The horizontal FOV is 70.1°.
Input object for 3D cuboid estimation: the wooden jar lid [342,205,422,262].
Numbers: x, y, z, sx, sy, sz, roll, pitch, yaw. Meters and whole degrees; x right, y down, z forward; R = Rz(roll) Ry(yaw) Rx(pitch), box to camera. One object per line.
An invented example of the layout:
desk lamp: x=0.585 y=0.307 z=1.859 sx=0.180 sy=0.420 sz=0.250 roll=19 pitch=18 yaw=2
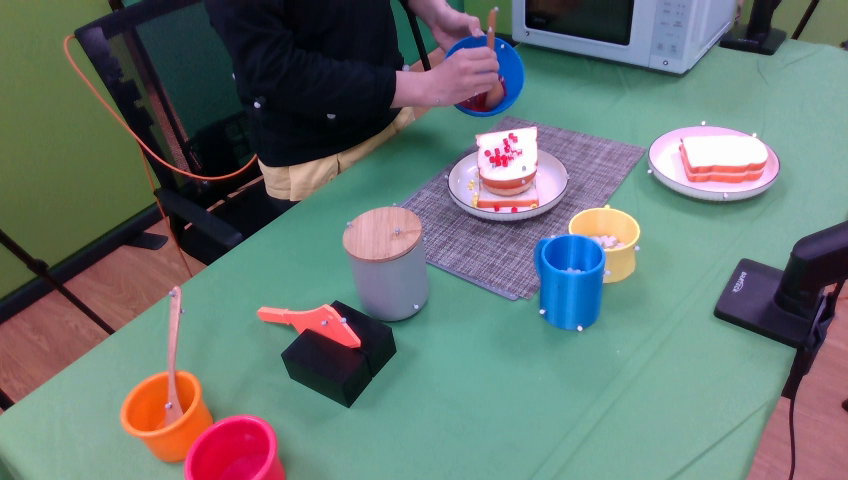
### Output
wooden jar lid: x=-0.055 y=-0.006 z=0.808 sx=0.108 sy=0.021 sz=0.108 roll=-6 pitch=40 yaw=6

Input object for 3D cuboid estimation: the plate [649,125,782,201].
plate: x=0.493 y=-0.128 z=1.036 sx=0.207 sy=0.039 sz=0.206 roll=-4 pitch=41 yaw=4

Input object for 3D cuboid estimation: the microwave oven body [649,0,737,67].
microwave oven body: x=0.475 y=-0.602 z=1.411 sx=0.438 sy=0.261 sz=0.327 roll=23 pitch=50 yaw=32

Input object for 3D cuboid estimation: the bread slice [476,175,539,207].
bread slice: x=0.144 y=-0.104 z=1.058 sx=0.105 sy=0.019 sz=0.131 roll=-1 pitch=42 yaw=5

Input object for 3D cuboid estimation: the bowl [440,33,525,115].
bowl: x=0.102 y=-0.288 z=1.099 sx=0.151 sy=0.077 sz=0.151 roll=1 pitch=79 yaw=-3

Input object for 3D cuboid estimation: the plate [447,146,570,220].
plate: x=0.145 y=-0.098 z=1.046 sx=0.209 sy=0.038 sz=0.208 roll=-4 pitch=41 yaw=4

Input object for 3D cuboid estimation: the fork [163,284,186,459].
fork: x=-0.302 y=0.157 z=0.733 sx=0.028 sy=0.019 sz=0.207 roll=-3 pitch=84 yaw=15

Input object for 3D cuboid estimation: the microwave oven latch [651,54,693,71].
microwave oven latch: x=0.532 y=-0.386 z=1.301 sx=0.078 sy=0.029 sz=0.030 roll=26 pitch=52 yaw=34

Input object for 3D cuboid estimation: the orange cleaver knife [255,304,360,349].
orange cleaver knife: x=-0.161 y=0.115 z=0.813 sx=0.210 sy=0.077 sz=0.012 roll=-5 pitch=32 yaw=47

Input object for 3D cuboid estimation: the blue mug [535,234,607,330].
blue mug: x=0.190 y=0.048 z=0.824 sx=0.082 sy=0.106 sz=0.115 roll=-26 pitch=44 yaw=-21

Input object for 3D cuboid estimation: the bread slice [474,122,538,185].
bread slice: x=0.141 y=-0.144 z=1.008 sx=0.107 sy=0.018 sz=0.133 roll=-8 pitch=48 yaw=8

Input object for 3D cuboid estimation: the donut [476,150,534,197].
donut: x=0.138 y=-0.116 z=1.025 sx=0.099 sy=0.048 sz=0.098 roll=-8 pitch=55 yaw=13

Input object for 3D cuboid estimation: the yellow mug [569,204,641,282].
yellow mug: x=0.268 y=-0.005 z=0.904 sx=0.099 sy=0.064 sz=0.130 roll=7 pitch=41 yaw=15

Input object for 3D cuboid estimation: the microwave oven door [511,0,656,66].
microwave oven door: x=0.351 y=-0.539 z=1.349 sx=0.353 sy=0.245 sz=0.039 roll=24 pitch=50 yaw=31

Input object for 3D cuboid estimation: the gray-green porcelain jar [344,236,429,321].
gray-green porcelain jar: x=-0.049 y=0.042 z=0.849 sx=0.106 sy=0.127 sz=0.105 roll=-4 pitch=41 yaw=4

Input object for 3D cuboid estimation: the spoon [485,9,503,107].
spoon: x=0.115 y=-0.300 z=1.018 sx=0.042 sy=0.195 sz=0.021 roll=-30 pitch=53 yaw=-15
